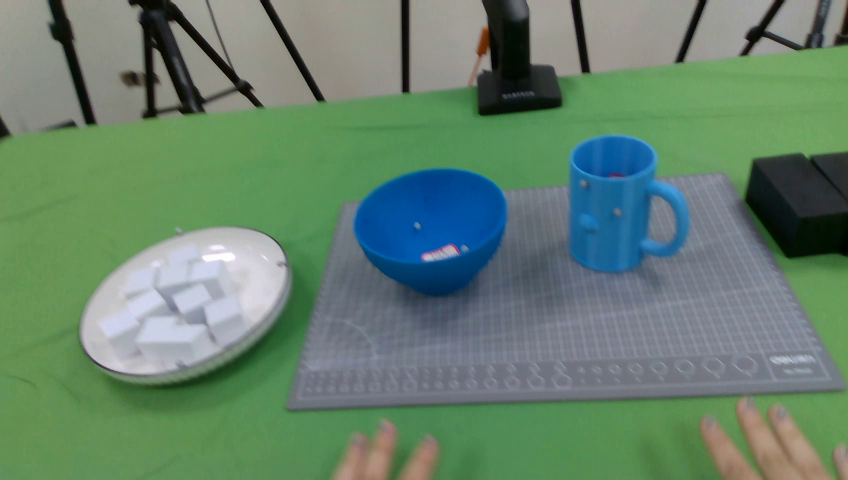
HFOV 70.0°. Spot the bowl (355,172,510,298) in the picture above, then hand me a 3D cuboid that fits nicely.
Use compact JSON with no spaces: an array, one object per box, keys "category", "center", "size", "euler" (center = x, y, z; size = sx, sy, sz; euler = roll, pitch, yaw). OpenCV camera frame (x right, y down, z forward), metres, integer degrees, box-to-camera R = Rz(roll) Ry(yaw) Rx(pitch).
[{"category":"bowl","center":[0.013,0.005,0.604],"size":[0.151,0.077,0.150],"euler":[-6,39,5]}]

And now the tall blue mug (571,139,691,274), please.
[{"category":"tall blue mug","center":[0.196,-0.030,0.581],"size":[0.107,0.109,0.077],"euler":[4,40,17]}]

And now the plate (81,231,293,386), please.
[{"category":"plate","center":[-0.233,0.068,0.617],"size":[0.209,0.038,0.207],"euler":[-5,39,5]}]
